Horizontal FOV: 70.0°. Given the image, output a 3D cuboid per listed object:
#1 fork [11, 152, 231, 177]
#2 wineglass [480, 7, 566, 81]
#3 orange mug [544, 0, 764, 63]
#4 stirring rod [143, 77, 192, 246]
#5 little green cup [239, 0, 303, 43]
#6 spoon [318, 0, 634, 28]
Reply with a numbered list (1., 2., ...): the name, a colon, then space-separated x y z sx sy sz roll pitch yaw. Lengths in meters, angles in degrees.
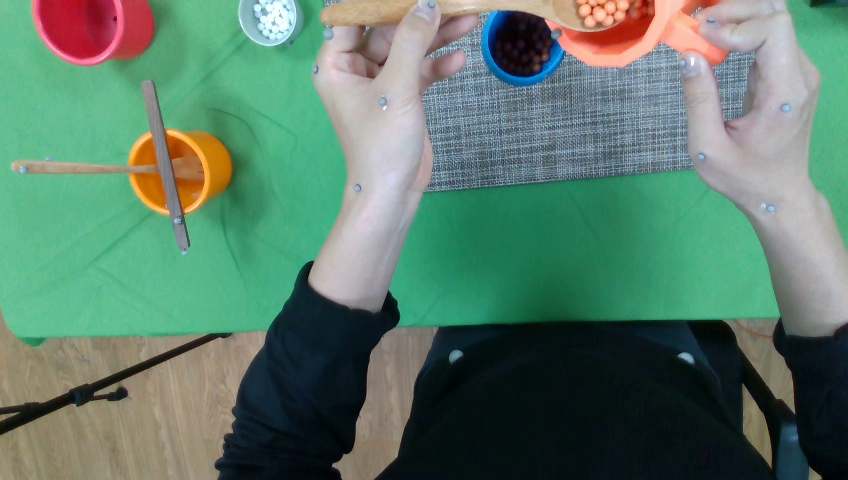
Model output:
1. fork: -0.309 -0.079 0.637 0.208 0.018 0.028 -5 118 -37
2. wineglass: 0.088 -0.179 0.542 0.073 0.171 0.074 2 105 7
3. orange mug: 0.151 -0.165 0.391 0.125 0.101 0.084 42 147 18
4. stirring rod: -0.266 -0.079 0.630 0.014 0.006 0.177 -4 105 9
5. little green cup: -0.156 -0.236 0.631 0.061 0.038 0.062 2 107 7
6. spoon: 0.035 -0.143 0.359 0.194 0.021 0.042 -9 119 -13
